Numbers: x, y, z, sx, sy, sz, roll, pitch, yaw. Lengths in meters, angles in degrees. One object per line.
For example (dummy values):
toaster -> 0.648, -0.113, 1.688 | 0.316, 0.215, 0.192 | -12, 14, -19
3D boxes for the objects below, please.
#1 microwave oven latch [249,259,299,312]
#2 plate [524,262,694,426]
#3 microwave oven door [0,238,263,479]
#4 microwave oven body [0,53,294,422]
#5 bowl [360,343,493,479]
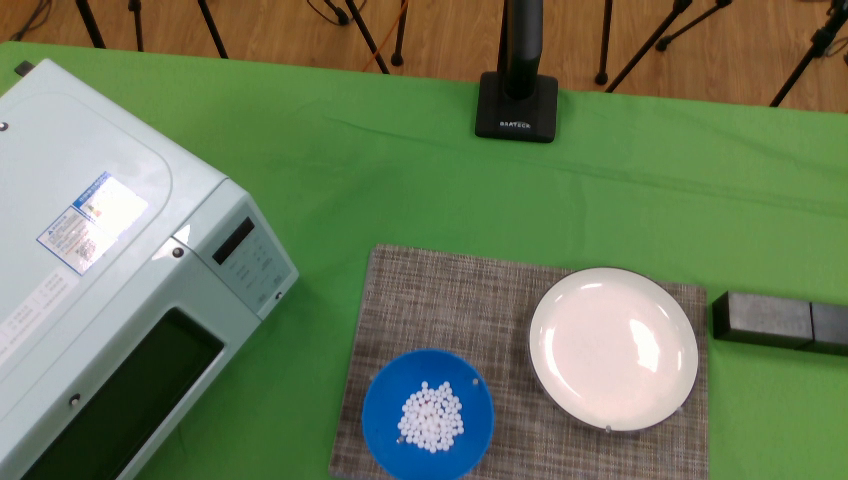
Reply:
microwave oven latch -> -0.197, 0.054, 0.791 | 0.030, 0.030, 0.079 | 34, 73, 14
plate -> 0.229, 0.130, 0.764 | 0.208, 0.039, 0.206 | 0, 67, 1
microwave oven door -> -0.328, 0.180, 0.631 | 0.039, 0.245, 0.355 | 32, 72, 15
microwave oven body -> -0.423, 0.075, 0.683 | 0.324, 0.262, 0.440 | 32, 72, 13
bowl -> 0.005, 0.205, 0.716 | 0.151, 0.077, 0.150 | 0, 67, 1
